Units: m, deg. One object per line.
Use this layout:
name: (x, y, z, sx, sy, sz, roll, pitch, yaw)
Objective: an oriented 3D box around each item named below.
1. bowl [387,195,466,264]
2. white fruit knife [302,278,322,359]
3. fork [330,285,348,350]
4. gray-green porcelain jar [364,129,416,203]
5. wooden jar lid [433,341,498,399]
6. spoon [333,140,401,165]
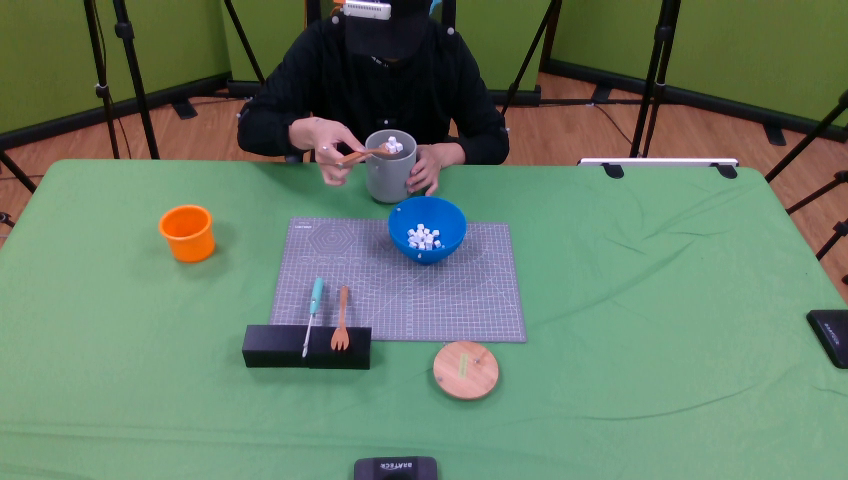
bowl: (0.003, -0.007, 1.162, 0.151, 0.077, 0.150, 2, 46, -2)
white fruit knife: (-0.189, 0.126, 1.020, 0.016, 0.027, 0.206, -1, 33, -2)
fork: (-0.140, 0.127, 1.021, 0.028, 0.019, 0.206, -5, 28, -2)
gray-green porcelain jar: (-0.072, -0.149, 1.264, 0.106, 0.127, 0.105, 2, 46, -2)
wooden jar lid: (0.068, 0.216, 0.997, 0.108, 0.021, 0.107, 1, 46, -1)
spoon: (-0.106, -0.164, 1.132, 0.041, 0.022, 0.194, 31, 28, 22)
